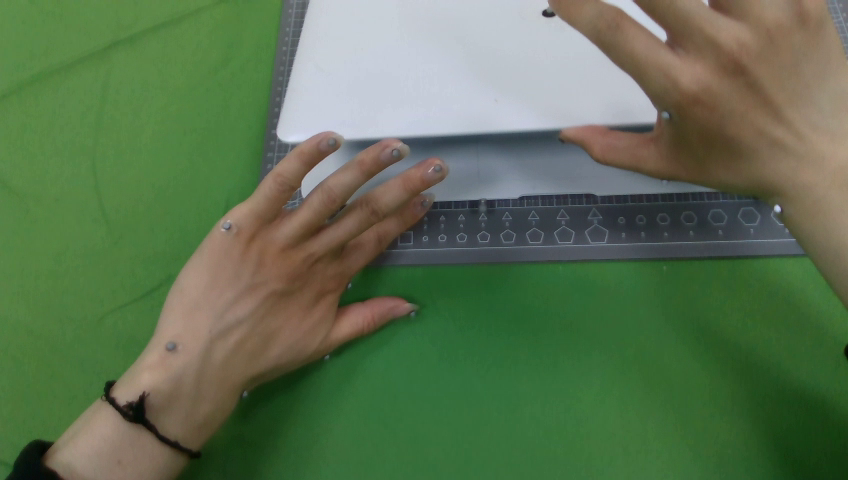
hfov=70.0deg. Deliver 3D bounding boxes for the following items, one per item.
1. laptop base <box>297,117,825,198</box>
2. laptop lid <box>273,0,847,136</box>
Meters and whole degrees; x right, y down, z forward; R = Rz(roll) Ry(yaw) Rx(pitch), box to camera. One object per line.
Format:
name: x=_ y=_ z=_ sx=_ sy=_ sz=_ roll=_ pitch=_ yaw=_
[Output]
laptop base: x=0.089 y=-0.137 z=0.455 sx=0.354 sy=0.023 sz=0.234 roll=-1 pitch=69 yaw=3
laptop lid: x=0.086 y=-0.157 z=0.418 sx=0.356 sy=0.013 sz=0.239 roll=0 pitch=52 yaw=4
